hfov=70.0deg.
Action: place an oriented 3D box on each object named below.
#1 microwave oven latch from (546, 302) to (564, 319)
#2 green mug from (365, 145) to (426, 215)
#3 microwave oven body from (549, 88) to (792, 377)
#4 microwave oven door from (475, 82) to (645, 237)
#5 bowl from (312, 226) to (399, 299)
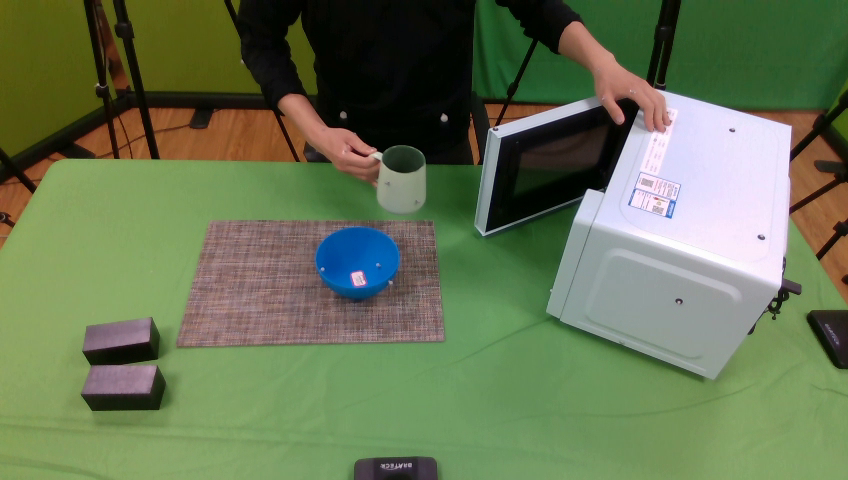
[{"bbox_3d":[0.242,0.102,1.081,0.030,0.029,0.079,22,48,17],"label":"microwave oven latch"},{"bbox_3d":[-0.055,-0.115,1.104,0.125,0.105,0.092,28,51,20],"label":"green mug"},{"bbox_3d":[0.456,-0.028,1.088,0.325,0.261,0.440,20,47,16],"label":"microwave oven body"},{"bbox_3d":[0.269,-0.160,1.193,0.356,0.245,0.039,-21,50,-22],"label":"microwave oven door"},{"bbox_3d":[-0.120,0.054,1.091,0.151,0.077,0.150,2,46,-2],"label":"bowl"}]
